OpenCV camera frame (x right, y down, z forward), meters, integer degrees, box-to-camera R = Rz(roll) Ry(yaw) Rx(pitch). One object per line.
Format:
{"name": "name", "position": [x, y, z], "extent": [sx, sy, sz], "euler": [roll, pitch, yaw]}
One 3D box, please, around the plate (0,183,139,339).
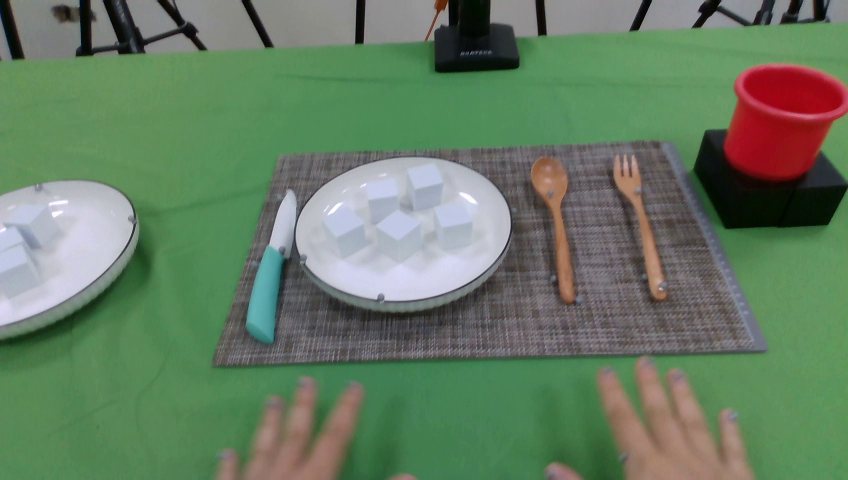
{"name": "plate", "position": [-0.382, 0.021, 0.589], "extent": [0.209, 0.038, 0.207], "euler": [-1, 43, 2]}

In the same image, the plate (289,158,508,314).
{"name": "plate", "position": [-0.024, -0.004, 0.588], "extent": [0.207, 0.039, 0.205], "euler": [-2, 43, 2]}

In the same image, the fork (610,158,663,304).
{"name": "fork", "position": [0.210, -0.017, 0.600], "extent": [0.028, 0.019, 0.205], "euler": [6, 42, 0]}

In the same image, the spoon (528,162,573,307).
{"name": "spoon", "position": [0.128, -0.013, 0.598], "extent": [0.042, 0.022, 0.192], "euler": [13, 42, -9]}

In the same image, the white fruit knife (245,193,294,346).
{"name": "white fruit knife", "position": [-0.146, 0.017, 0.591], "extent": [0.027, 0.016, 0.205], "euler": [19, 38, -18]}
